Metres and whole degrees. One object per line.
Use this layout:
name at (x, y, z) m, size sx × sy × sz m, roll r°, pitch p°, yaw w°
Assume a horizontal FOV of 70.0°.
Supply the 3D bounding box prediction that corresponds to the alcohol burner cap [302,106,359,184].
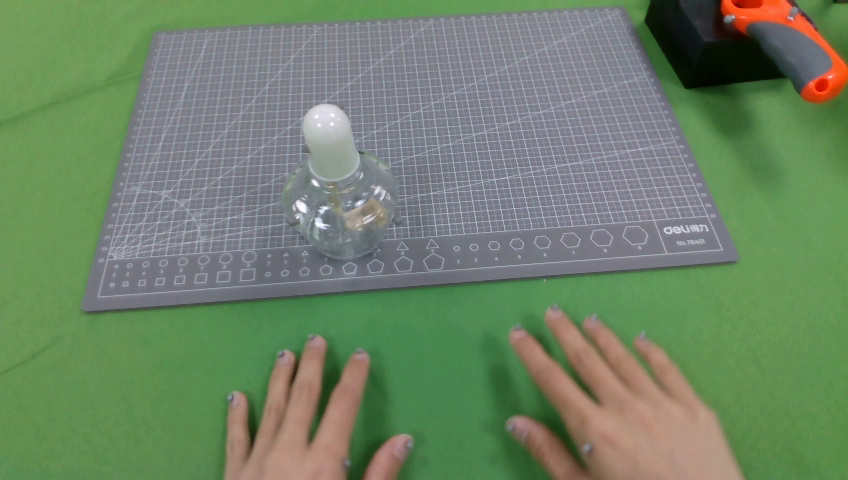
alcohol burner cap at (-0.058, -0.060, 0.363) m, size 0.034 × 0.048 × 0.033 m, roll 0°, pitch 59°, yaw 0°

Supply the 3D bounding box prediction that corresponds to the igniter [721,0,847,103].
igniter at (0.269, -0.209, 0.510) m, size 0.057 × 0.025 × 0.273 m, roll -10°, pitch 53°, yaw -4°

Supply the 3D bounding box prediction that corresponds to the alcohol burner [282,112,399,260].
alcohol burner at (-0.056, -0.039, 0.392) m, size 0.078 × 0.120 × 0.077 m, roll 0°, pitch 57°, yaw 1°
